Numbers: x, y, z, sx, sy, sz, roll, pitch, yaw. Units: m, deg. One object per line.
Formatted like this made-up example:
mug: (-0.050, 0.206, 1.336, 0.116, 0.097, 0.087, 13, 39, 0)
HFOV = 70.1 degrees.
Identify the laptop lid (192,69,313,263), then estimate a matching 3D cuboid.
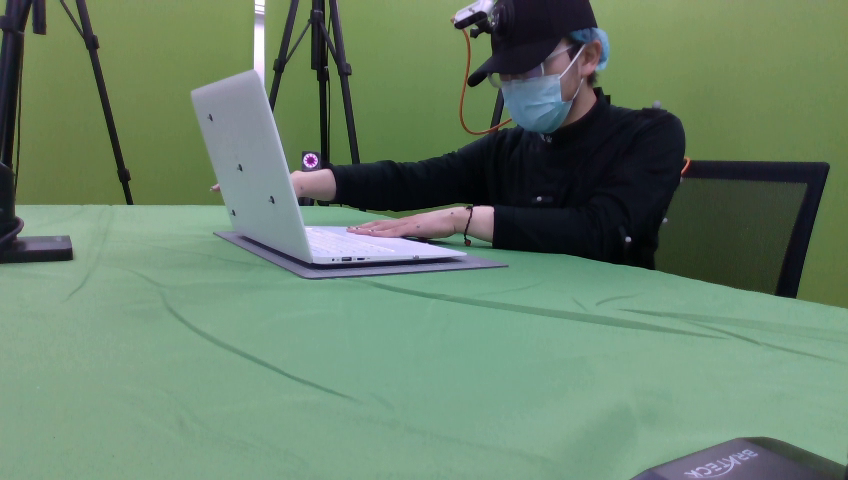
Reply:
laptop lid: (-0.251, -0.102, 0.840, 0.013, 0.242, 0.355, -22, 20, -28)

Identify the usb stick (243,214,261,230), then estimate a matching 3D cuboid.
usb stick: (-0.299, -0.031, 1.057, 0.021, 0.027, 0.059, -1, 9, -30)

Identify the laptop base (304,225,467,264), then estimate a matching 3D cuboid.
laptop base: (-0.127, 0.005, 0.937, 0.237, 0.023, 0.352, 3, 6, -33)
